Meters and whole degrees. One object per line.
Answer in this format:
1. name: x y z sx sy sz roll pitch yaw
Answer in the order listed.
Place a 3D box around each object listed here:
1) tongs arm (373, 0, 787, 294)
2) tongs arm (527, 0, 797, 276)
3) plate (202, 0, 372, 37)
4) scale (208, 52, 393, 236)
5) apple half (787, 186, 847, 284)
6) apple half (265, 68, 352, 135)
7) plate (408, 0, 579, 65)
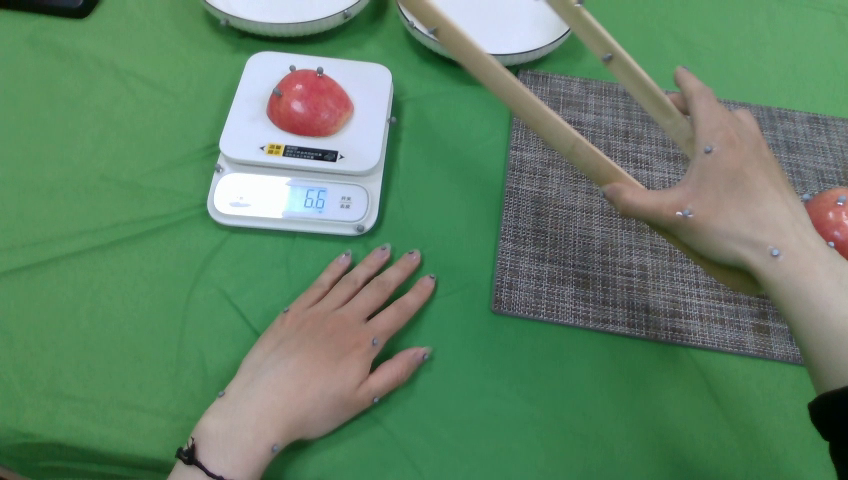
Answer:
1. tongs arm: 0.099 -0.087 0.459 0.386 0.028 0.028 41 58 11
2. tongs arm: 0.149 -0.123 0.487 0.051 0.026 0.382 -33 73 -25
3. plate: -0.153 -0.299 0.695 0.208 0.039 0.205 2 57 -3
4. scale: -0.110 -0.096 0.570 0.149 0.032 0.199 5 57 -1
5. apple half: 0.340 0.002 0.509 0.053 0.075 0.080 -25 65 -14
6. apple half: -0.105 -0.134 0.559 0.081 0.033 0.080 2 56 -2
7. plate: 0.070 -0.267 0.691 0.209 0.038 0.207 2 56 -3
